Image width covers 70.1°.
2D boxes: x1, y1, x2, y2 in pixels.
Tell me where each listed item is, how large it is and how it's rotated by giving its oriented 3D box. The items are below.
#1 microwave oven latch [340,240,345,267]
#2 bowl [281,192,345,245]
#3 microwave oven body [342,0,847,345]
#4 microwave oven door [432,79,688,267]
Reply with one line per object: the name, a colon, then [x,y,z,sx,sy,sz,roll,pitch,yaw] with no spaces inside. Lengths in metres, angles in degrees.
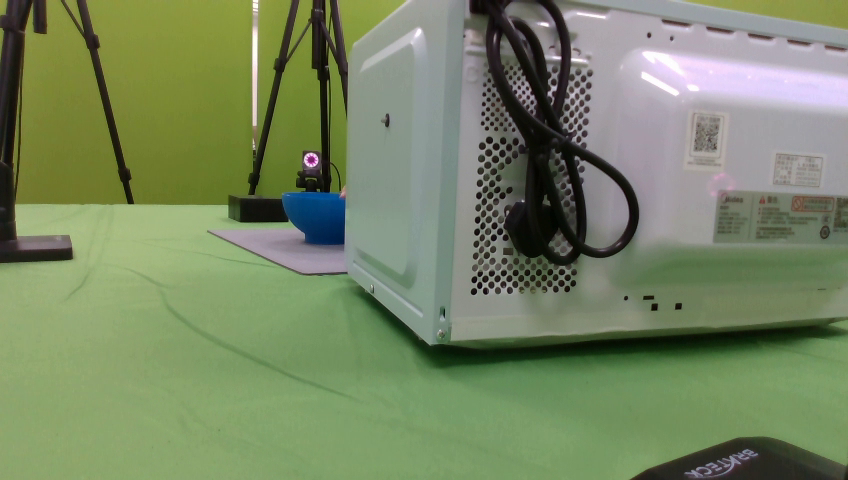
microwave oven latch: [-0.052,0.016,0.662,0.079,0.029,0.030,1,7,-18]
bowl: [-0.158,-0.035,0.991,0.151,0.077,0.151,3,7,0]
microwave oven body: [0.169,-0.060,0.573,0.444,0.260,0.324,1,7,-20]
microwave oven door: [0.177,-0.101,0.866,0.354,0.243,0.039,6,9,30]
